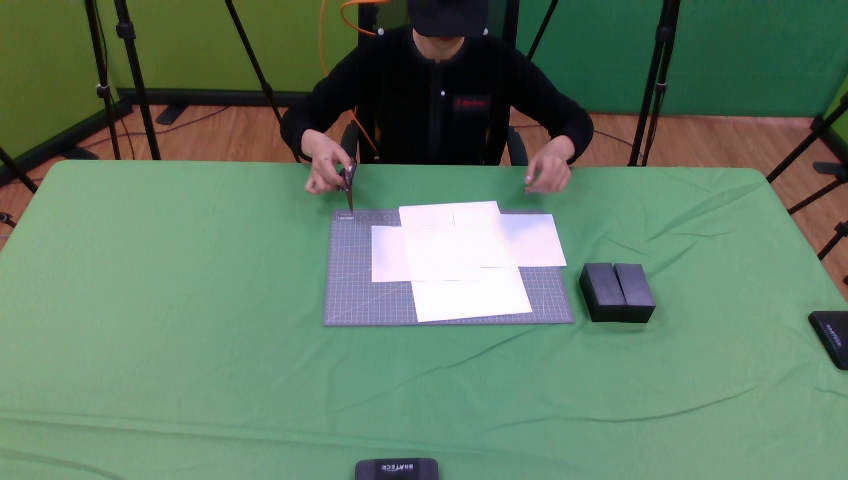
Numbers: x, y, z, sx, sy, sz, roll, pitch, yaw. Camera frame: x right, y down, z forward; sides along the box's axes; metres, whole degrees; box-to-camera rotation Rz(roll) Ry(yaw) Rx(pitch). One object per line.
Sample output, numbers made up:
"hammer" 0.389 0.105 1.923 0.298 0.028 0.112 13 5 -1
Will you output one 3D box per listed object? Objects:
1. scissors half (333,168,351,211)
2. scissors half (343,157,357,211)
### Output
"scissors half" -0.155 -0.095 1.171 0.013 0.040 0.174 32 14 -28
"scissors half" -0.143 -0.109 1.165 0.013 0.040 0.174 27 33 -26
